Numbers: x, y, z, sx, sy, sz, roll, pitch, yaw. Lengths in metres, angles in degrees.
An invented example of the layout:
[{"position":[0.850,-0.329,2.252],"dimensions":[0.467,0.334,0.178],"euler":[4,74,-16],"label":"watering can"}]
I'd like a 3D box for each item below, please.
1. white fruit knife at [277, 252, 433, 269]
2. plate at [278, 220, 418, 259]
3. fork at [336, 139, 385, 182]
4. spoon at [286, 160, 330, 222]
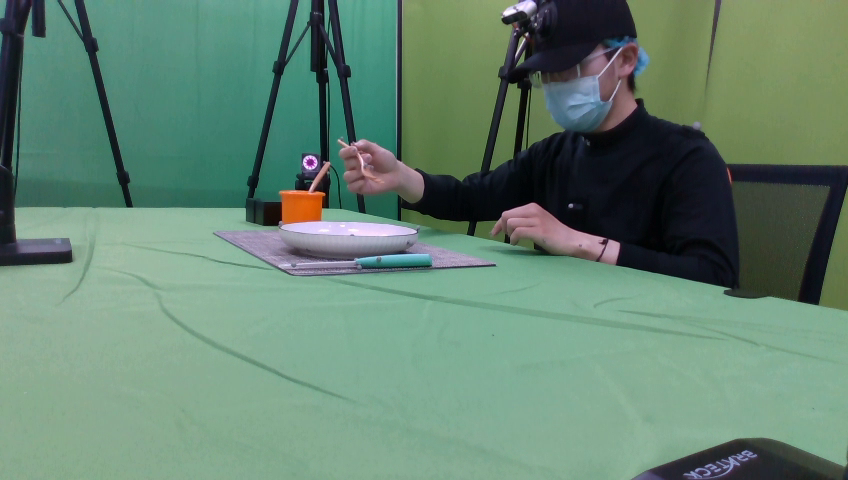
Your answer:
[{"position":[-0.082,0.029,0.772],"dimensions":[0.208,0.016,0.027],"euler":[-3,-20,-22],"label":"white fruit knife"},{"position":[-0.114,-0.002,0.914],"dimensions":[0.209,0.038,0.209],"euler":[2,7,0],"label":"plate"},{"position":[-0.114,-0.141,1.044],"dimensions":[0.028,0.018,0.206],"euler":[23,16,-36],"label":"fork"},{"position":[-0.233,-0.101,1.252],"dimensions":[0.041,0.193,0.022],"euler":[2,-38,24],"label":"spoon"}]
